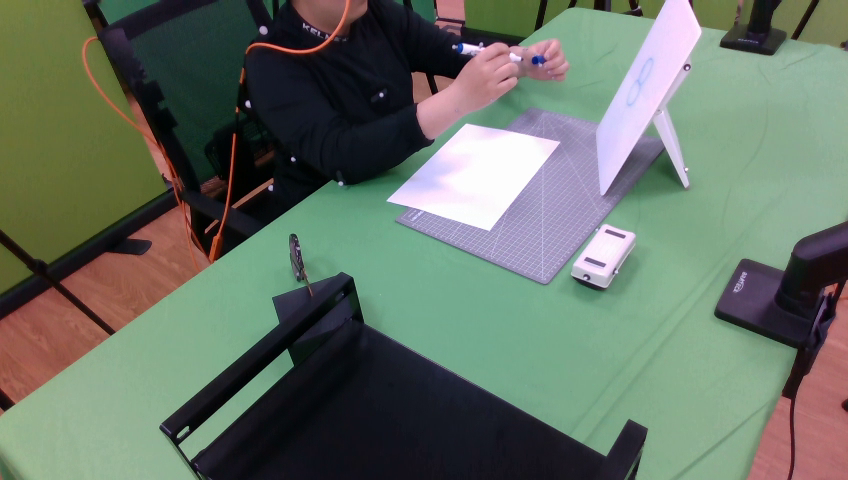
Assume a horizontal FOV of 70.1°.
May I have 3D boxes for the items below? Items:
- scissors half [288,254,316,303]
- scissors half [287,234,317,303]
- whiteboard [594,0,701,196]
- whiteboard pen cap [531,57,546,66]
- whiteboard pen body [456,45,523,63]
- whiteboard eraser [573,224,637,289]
[{"bbox_3d":[-0.178,0.058,0.894,0.013,0.040,0.174,-16,20,-17],"label":"scissors half"},{"bbox_3d":[-0.179,0.040,0.885,0.013,0.040,0.173,-11,36,-20],"label":"scissors half"},{"bbox_3d":[0.420,-0.227,1.010,0.144,0.305,0.216,18,42,-2],"label":"whiteboard"},{"bbox_3d":[0.215,-0.334,1.134,0.018,0.018,0.033,20,23,29],"label":"whiteboard pen cap"},{"bbox_3d":[0.116,-0.318,1.041,0.142,0.017,0.017,-1,33,-32],"label":"whiteboard pen body"},{"bbox_3d":[0.267,0.025,0.891,0.055,0.042,0.113,19,47,31],"label":"whiteboard eraser"}]
